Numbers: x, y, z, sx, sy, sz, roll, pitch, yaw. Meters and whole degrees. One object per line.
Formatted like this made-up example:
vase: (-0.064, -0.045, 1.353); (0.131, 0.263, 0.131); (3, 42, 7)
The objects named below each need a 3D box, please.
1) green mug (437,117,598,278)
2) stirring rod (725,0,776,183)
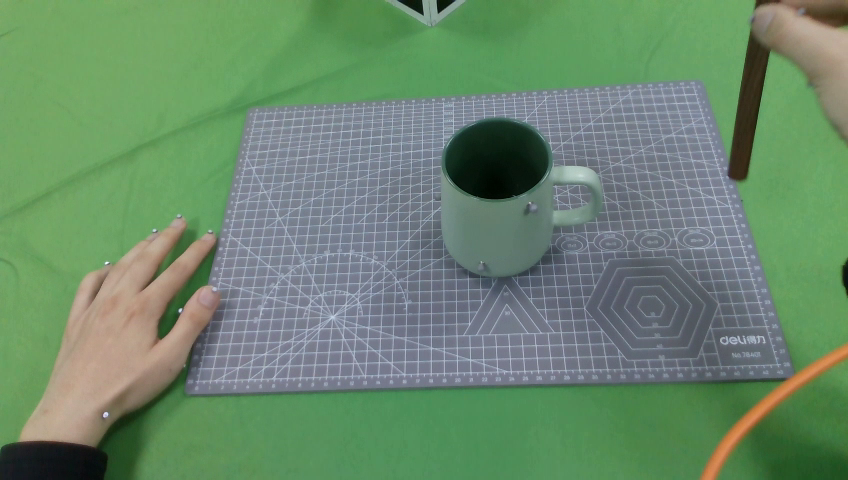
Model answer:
green mug: (0.071, -0.031, 0.468); (0.125, 0.106, 0.091); (-1, 58, 5)
stirring rod: (0.206, -0.119, 0.376); (0.006, 0.177, 0.014); (-19, 30, -25)
